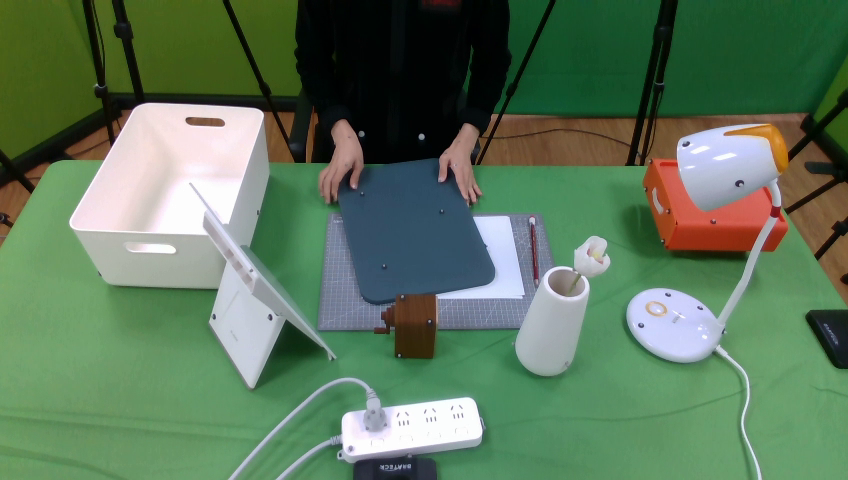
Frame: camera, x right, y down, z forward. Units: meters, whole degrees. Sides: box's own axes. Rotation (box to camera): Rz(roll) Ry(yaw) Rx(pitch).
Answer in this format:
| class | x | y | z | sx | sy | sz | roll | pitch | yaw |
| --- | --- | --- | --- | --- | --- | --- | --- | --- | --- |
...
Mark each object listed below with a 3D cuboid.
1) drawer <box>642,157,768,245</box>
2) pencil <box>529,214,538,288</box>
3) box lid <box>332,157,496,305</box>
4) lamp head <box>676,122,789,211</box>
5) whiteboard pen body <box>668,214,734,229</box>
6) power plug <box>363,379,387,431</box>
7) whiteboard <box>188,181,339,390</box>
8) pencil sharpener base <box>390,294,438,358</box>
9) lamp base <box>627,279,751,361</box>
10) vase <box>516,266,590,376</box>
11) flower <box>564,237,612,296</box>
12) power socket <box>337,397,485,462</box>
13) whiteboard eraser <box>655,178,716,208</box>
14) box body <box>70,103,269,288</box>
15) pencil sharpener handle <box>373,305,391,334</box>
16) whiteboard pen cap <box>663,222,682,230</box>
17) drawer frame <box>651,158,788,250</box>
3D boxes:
| class | x | y | z | sx | sy | sz | roll | pitch | yaw |
| --- | --- | --- | --- | --- | --- | --- | --- | --- | --- |
| drawer | 0.564 | -0.075 | 1.210 | 0.212 | 0.073 | 0.193 | 3 | 45 | -1 |
| pencil | 0.218 | 0.019 | 1.202 | 0.012 | 0.012 | 0.193 | 5 | 48 | 1 |
| box lid | -0.030 | -0.032 | 1.223 | 0.264 | 0.015 | 0.369 | -10 | 49 | -12 |
| lamp head | 0.423 | -0.104 | 0.819 | 0.122 | 0.113 | 0.112 | -13 | 33 | 40 |
| whiteboard pen body | 0.547 | -0.035 | 1.200 | 0.141 | 0.017 | 0.017 | -8 | 48 | -9 |
| power plug | -0.072 | 0.252 | 0.910 | 0.035 | 0.053 | 0.072 | 3 | 45 | -1 |
| whiteboard | -0.292 | 0.096 | 0.929 | 0.144 | 0.307 | 0.216 | -38 | 57 | -11 |
| pencil sharpener base | -0.018 | 0.143 | 1.000 | 0.077 | 0.107 | 0.061 | 1 | 46 | -2 |
| lamp base | 0.459 | 0.100 | 1.027 | 0.178 | 0.181 | 0.160 | 27 | 51 | 17 |
| vase | 0.208 | 0.132 | 0.964 | 0.098 | 0.201 | 0.097 | 3 | 46 | -3 |
| flower | 0.206 | 0.088 | 0.893 | 0.038 | 0.363 | 0.044 | -16 | 67 | -9 |
| power socket | -0.018 | 0.285 | 0.915 | 0.227 | 0.033 | 0.071 | -5 | 46 | -8 |
| whiteboard eraser | 0.538 | -0.095 | 1.251 | 0.113 | 0.042 | 0.055 | 4 | 52 | -10 |
| box body | -0.450 | -0.087 | 1.148 | 0.254 | 0.161 | 0.361 | 2 | 46 | -2 |
| pencil sharpener handle | -0.069 | 0.133 | 0.989 | 0.030 | 0.068 | 0.036 | 1 | 47 | -2 |
| whiteboard pen cap | 0.487 | -0.027 | 1.188 | 0.033 | 0.018 | 0.018 | 0 | 46 | -16 |
| drawer frame | 0.571 | -0.074 | 1.213 | 0.214 | 0.083 | 0.200 | 1 | 46 | 0 |
